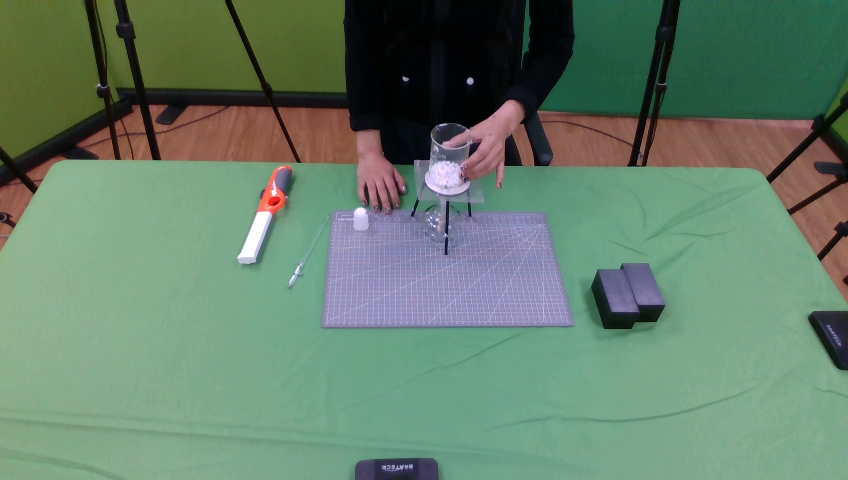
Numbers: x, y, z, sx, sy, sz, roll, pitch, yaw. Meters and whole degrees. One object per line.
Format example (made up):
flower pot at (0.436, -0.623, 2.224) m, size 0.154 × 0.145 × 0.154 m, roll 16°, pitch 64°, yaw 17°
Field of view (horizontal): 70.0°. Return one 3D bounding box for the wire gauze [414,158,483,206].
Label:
wire gauze at (0.045, -0.113, 1.137) m, size 0.125 × 0.011 × 0.120 m, roll 2°, pitch 48°, yaw -6°

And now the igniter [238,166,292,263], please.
igniter at (-0.319, -0.060, 1.229) m, size 0.057 × 0.025 × 0.275 m, roll -2°, pitch 45°, yaw 10°

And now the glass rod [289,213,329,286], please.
glass rod at (-0.221, 0.014, 1.179) m, size 0.008 × 0.008 × 0.199 m, roll 12°, pitch 47°, yaw 9°

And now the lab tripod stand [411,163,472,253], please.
lab tripod stand at (0.042, -0.069, 1.187) m, size 0.148 × 0.132 × 0.147 m, roll 3°, pitch 47°, yaw -3°

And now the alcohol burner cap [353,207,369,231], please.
alcohol burner cap at (-0.127, -0.046, 1.215) m, size 0.034 × 0.048 × 0.033 m, roll 3°, pitch 48°, yaw -3°

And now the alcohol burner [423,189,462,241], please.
alcohol burner at (0.037, -0.055, 1.187) m, size 0.078 × 0.120 × 0.077 m, roll 1°, pitch 48°, yaw -1°

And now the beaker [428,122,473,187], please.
beaker at (0.044, -0.155, 1.109) m, size 0.074 × 0.101 × 0.083 m, roll -25°, pitch 54°, yaw -25°
